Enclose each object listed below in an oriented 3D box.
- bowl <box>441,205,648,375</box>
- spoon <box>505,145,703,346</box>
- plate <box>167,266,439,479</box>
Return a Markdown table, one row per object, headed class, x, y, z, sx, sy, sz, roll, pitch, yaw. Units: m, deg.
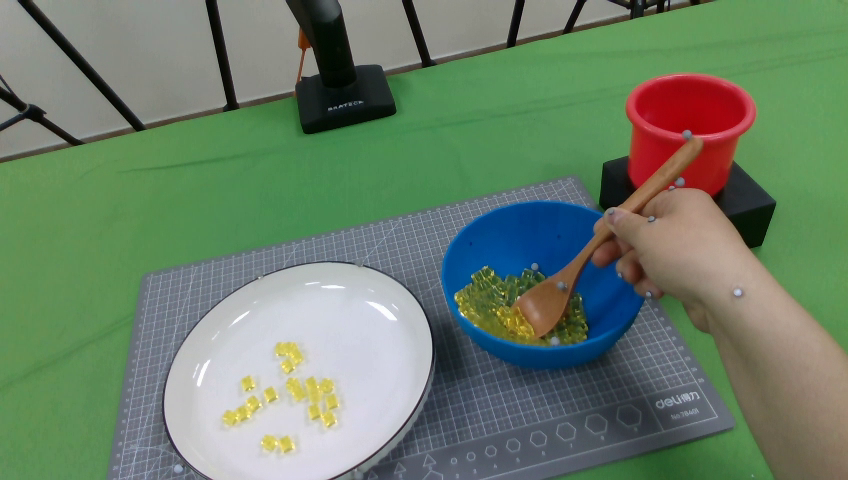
| class | x | y | z | sx | sy | sz | roll | pitch | yaw |
| --- | --- | --- | --- | --- | --- | --- | --- | --- | --- |
| bowl | 0.091 | 0.051 | 0.470 | 0.151 | 0.077 | 0.150 | -5 | 44 | 5 |
| spoon | 0.128 | 0.007 | 0.439 | 0.022 | 0.194 | 0.041 | 22 | 27 | -36 |
| plate | -0.090 | 0.107 | 0.473 | 0.207 | 0.039 | 0.205 | -5 | 44 | 5 |
